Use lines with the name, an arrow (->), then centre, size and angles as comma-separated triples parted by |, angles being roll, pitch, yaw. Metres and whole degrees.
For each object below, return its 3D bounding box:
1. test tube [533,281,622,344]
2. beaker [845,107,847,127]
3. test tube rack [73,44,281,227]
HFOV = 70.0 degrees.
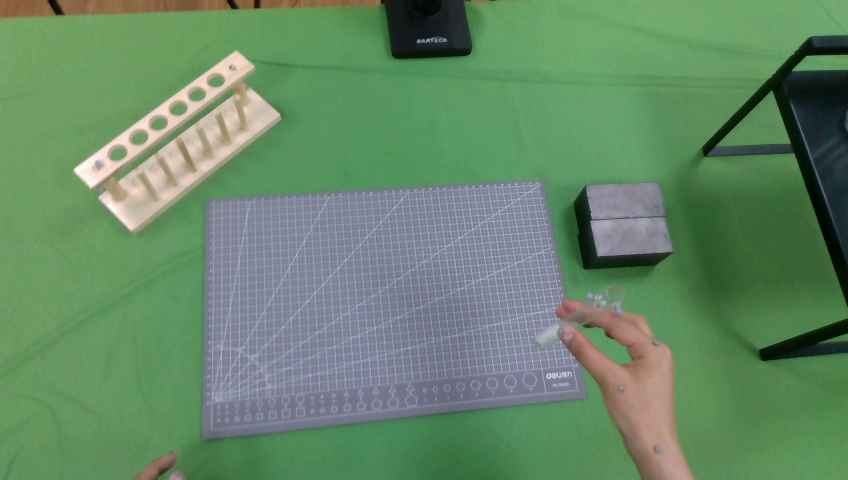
test tube -> 0.129, 0.067, 0.532 | 0.017, 0.151, 0.017 | 5, 66, -12
beaker -> 0.521, -0.151, 0.657 | 0.084, 0.101, 0.073 | -8, 70, -8
test tube rack -> -0.298, -0.132, 0.759 | 0.066, 0.085, 0.242 | 42, 71, 11
